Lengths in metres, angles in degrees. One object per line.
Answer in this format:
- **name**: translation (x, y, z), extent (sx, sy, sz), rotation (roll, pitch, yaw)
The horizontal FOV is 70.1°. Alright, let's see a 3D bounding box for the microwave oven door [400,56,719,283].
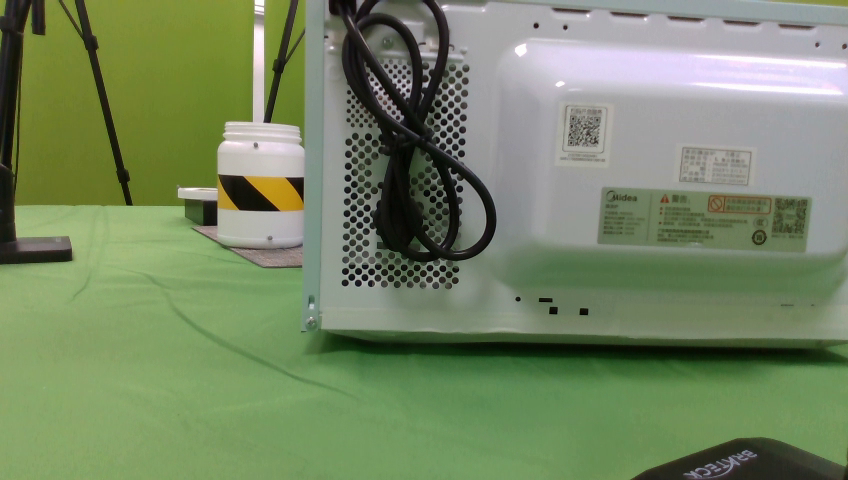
- **microwave oven door**: translation (0.155, -0.077, 0.698), extent (0.356, 0.243, 0.039), rotation (2, 8, -5)

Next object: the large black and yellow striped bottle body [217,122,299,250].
- **large black and yellow striped bottle body**: translation (-0.250, -0.084, 0.931), extent (0.131, 0.184, 0.130), rotation (2, 7, 0)

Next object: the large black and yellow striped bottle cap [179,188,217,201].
- **large black and yellow striped bottle cap**: translation (-0.434, -0.093, 1.226), extent (0.115, 0.019, 0.115), rotation (3, 9, 0)

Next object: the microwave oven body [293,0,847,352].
- **microwave oven body**: translation (0.122, -0.055, 0.550), extent (0.442, 0.260, 0.325), rotation (3, 7, -5)

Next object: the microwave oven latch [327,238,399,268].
- **microwave oven latch**: translation (-0.069, 0.015, 0.694), extent (0.079, 0.029, 0.030), rotation (3, 7, -3)
